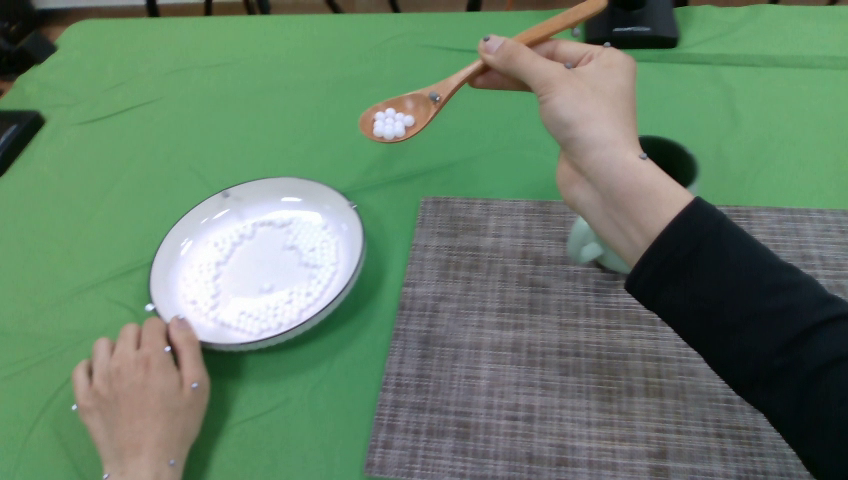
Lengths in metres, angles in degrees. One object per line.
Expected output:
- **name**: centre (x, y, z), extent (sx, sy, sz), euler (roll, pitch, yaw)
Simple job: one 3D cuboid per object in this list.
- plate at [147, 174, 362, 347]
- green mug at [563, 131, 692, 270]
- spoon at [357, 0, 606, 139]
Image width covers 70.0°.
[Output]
- **plate**: centre (-0.162, 0.019, 0.599), extent (0.209, 0.038, 0.207), euler (-3, 50, 4)
- **green mug**: centre (0.177, -0.025, 0.545), extent (0.125, 0.106, 0.091), euler (-31, 54, -17)
- **spoon**: centre (0.041, -0.123, 0.422), extent (0.194, 0.022, 0.041), euler (-29, 58, 5)
